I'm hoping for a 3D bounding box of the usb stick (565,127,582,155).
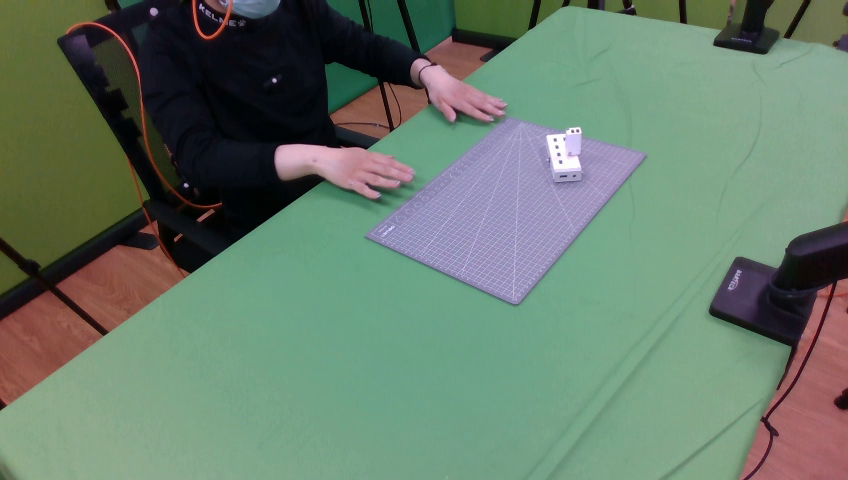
[{"bbox_3d":[0.266,-0.170,1.077,0.027,0.059,0.021,-3,40,2],"label":"usb stick"}]

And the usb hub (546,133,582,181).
[{"bbox_3d":[0.255,-0.153,1.103,0.049,0.025,0.124,-3,41,4],"label":"usb hub"}]
